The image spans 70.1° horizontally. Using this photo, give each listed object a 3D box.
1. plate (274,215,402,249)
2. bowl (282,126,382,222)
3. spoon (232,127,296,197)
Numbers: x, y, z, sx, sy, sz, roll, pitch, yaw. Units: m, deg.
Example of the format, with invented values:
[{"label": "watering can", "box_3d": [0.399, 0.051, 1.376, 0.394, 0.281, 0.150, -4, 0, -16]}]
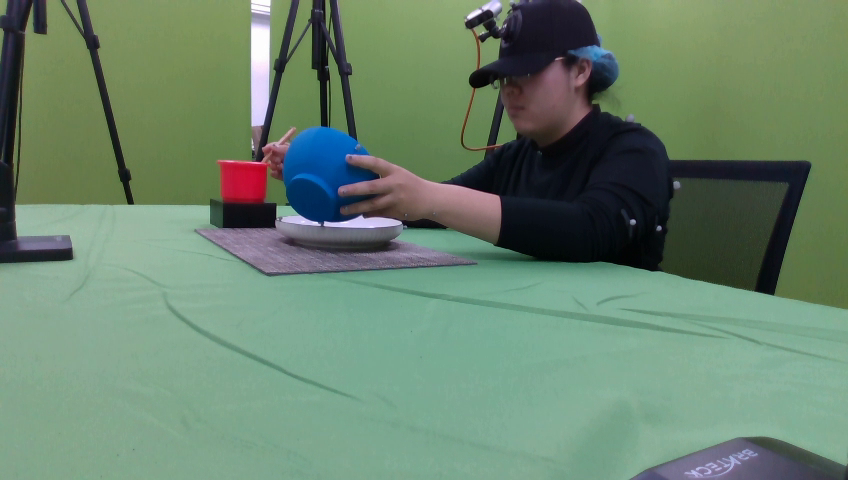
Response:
[{"label": "plate", "box_3d": [-0.140, -0.015, 0.993, 0.208, 0.039, 0.207, 3, 8, 0]}, {"label": "bowl", "box_3d": [-0.144, -0.077, 0.858, 0.151, 0.151, 0.077, 5, 39, 22]}, {"label": "spoon", "box_3d": [-0.307, -0.154, 1.181, 0.041, 0.194, 0.022, 14, -27, 36]}]
